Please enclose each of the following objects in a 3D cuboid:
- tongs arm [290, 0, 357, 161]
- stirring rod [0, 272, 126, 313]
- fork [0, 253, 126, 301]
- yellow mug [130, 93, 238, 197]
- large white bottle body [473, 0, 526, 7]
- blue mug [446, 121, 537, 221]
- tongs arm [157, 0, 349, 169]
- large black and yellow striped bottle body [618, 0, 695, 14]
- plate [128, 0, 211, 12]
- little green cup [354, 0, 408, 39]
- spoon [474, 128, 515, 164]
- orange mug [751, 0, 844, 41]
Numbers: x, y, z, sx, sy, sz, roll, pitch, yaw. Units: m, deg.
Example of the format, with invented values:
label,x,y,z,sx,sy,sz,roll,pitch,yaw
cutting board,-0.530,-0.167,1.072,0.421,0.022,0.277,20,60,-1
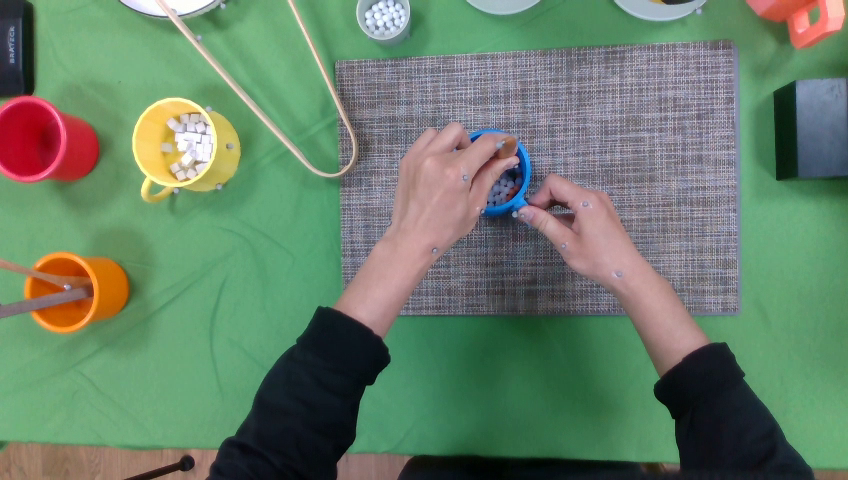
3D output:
label,x,y,z,sx,sy,sz,roll,pitch,yaw
tongs arm,-0.160,-0.271,0.685,0.028,0.027,0.388,-26,96,-3
stirring rod,-0.434,0.064,0.688,0.177,0.006,0.014,-16,85,-36
fork,-0.444,0.029,0.682,0.209,0.018,0.028,27,89,-39
yellow mug,-0.286,-0.103,0.705,0.100,0.064,0.131,37,96,3
large white bottle body,0.079,-0.328,0.603,0.130,0.185,0.130,0,91,6
blue mug,0.079,-0.065,0.648,0.082,0.106,0.116,-44,87,5
tongs arm,-0.230,-0.223,0.691,0.051,0.026,0.385,-40,95,2
large black and yellow striped bottle body,0.250,-0.314,0.588,0.130,0.184,0.130,0,91,6
plate,-0.294,-0.370,0.712,0.207,0.039,0.207,0,92,6
little green cup,-0.047,-0.261,0.691,0.061,0.038,0.061,0,92,6
spoon,0.072,-0.087,0.578,0.041,0.193,0.021,-10,95,2
orange mug,0.391,-0.275,0.618,0.083,0.101,0.126,-11,86,6
